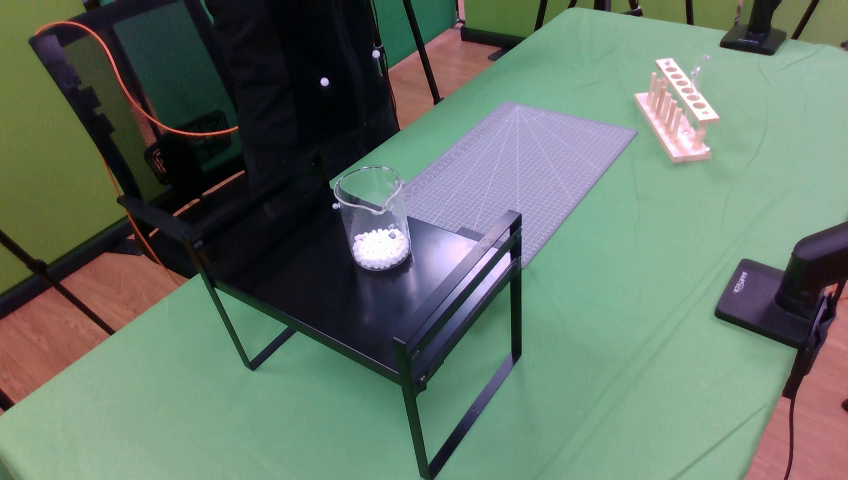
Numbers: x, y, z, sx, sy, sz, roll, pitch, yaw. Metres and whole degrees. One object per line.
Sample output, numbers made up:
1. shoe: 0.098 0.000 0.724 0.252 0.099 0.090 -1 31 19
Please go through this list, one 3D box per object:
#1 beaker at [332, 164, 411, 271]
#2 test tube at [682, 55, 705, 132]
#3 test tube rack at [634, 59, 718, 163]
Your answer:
1. beaker: -0.053 -0.020 0.669 0.074 0.101 0.083 -19 42 -12
2. test tube: 0.480 -0.258 1.080 0.017 0.151 0.017 -5 43 5
3. test tube rack: 0.470 -0.250 1.148 0.067 0.085 0.241 -6 40 3
